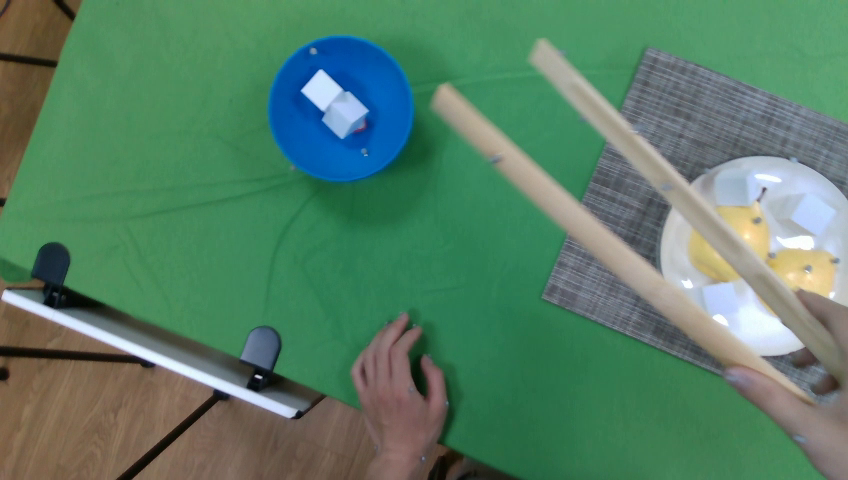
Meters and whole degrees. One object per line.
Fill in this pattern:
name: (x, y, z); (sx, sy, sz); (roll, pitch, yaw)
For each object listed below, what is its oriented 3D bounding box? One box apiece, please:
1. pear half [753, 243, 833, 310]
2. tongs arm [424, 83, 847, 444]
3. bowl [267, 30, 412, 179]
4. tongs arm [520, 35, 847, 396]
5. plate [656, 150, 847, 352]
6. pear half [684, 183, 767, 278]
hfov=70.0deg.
pear half: (0.388, 0.037, 0.627); (0.088, 0.031, 0.070); (-35, 90, 9)
tongs arm: (0.146, 0.012, 0.432); (0.386, 0.028, 0.028); (41, 52, 10)
bowl: (-0.083, -0.136, 0.652); (0.151, 0.077, 0.151); (0, 89, 4)
tongs arm: (0.193, -0.020, 0.466); (0.051, 0.026, 0.382); (-32, 73, -32)
plate: (0.347, 0.011, 0.636); (0.207, 0.039, 0.207); (0, 89, 4)
pear half: (0.324, -0.017, 0.624); (0.076, 0.056, 0.110); (33, 88, 0)
